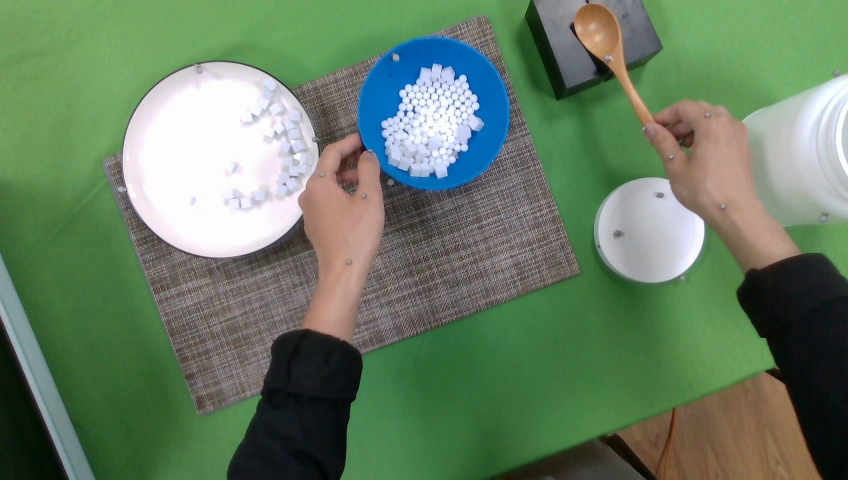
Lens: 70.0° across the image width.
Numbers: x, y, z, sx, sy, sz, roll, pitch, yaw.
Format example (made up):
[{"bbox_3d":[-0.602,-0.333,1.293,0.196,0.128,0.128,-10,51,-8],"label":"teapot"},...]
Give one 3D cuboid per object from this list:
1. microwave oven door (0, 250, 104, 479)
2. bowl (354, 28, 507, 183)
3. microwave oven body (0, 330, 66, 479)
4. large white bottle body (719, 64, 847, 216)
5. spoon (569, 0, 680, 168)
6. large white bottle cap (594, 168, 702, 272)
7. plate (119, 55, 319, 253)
[{"bbox_3d":[-0.411,0.159,0.538,0.039,0.244,0.355,-23,91,1],"label":"microwave oven door"},{"bbox_3d":[0.007,-0.131,0.626,0.151,0.077,0.151,0,91,1],"label":"bowl"},{"bbox_3d":[-0.562,0.177,0.544,0.326,0.260,0.441,-23,91,0],"label":"microwave oven body"},{"bbox_3d":[0.384,-0.091,0.576,0.130,0.184,0.130,0,90,1],"label":"large white bottle body"},{"bbox_3d":[0.200,-0.155,0.596,0.041,0.022,0.193,-27,81,7],"label":"spoon"},{"bbox_3d":[0.244,-0.021,0.661,0.115,0.018,0.115,0,91,-1],"label":"large white bottle cap"},{"bbox_3d":[-0.213,-0.089,0.648,0.209,0.038,0.209,0,91,0],"label":"plate"}]
